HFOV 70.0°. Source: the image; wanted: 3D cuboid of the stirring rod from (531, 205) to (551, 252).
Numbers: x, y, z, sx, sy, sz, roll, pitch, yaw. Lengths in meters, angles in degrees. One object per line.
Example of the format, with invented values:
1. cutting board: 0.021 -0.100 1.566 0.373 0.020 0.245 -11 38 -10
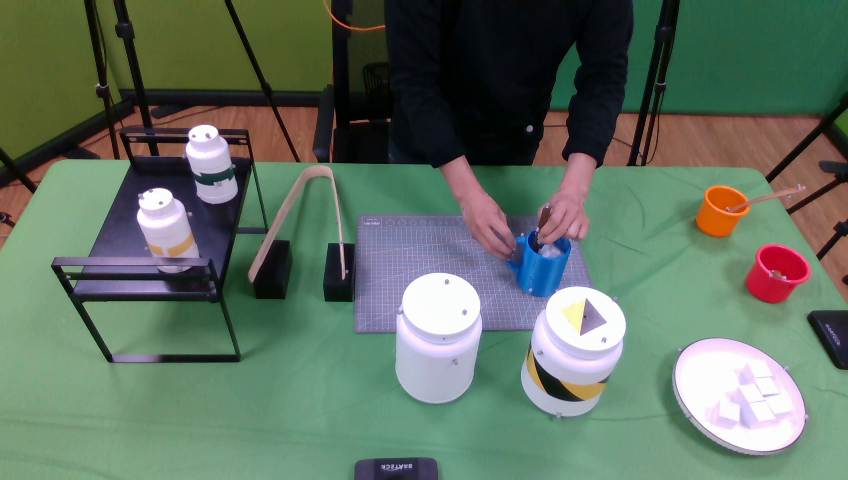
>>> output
1. stirring rod: 0.196 0.006 1.067 0.014 0.177 0.006 -12 48 -20

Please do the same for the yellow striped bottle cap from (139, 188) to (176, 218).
1. yellow striped bottle cap: -0.363 -0.050 0.826 0.044 0.019 0.044 1 47 -1

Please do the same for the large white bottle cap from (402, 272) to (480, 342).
1. large white bottle cap: 0.024 0.095 0.878 0.115 0.018 0.114 2 47 -2

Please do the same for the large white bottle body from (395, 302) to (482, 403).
1. large white bottle body: 0.020 0.153 0.940 0.131 0.185 0.130 2 46 -2

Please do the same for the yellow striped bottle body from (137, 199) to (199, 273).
1. yellow striped bottle body: -0.366 -0.014 0.863 0.063 0.121 0.062 2 46 -2

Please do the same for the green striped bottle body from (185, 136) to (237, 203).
1. green striped bottle body: -0.341 -0.121 0.968 0.063 0.120 0.063 2 46 -2

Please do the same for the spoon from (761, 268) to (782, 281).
1. spoon: 0.638 0.060 1.105 0.041 0.021 0.194 38 11 25

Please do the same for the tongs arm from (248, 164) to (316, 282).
1. tongs arm: -0.269 -0.048 1.165 0.028 0.028 0.385 0 34 7

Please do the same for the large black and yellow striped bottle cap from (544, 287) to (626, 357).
1. large black and yellow striped bottle cap: 0.232 0.116 0.876 0.115 0.019 0.114 2 46 -1

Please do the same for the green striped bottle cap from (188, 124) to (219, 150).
1. green striped bottle cap: -0.339 -0.158 0.931 0.044 0.020 0.044 3 46 -3

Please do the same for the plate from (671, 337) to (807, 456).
1. plate: 0.503 0.254 0.984 0.208 0.039 0.206 2 46 -2

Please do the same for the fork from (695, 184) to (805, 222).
1. fork: 0.657 -0.075 1.230 0.207 0.019 0.028 -23 32 37

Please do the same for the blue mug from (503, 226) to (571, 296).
1. blue mug: 0.202 0.034 1.118 0.116 0.106 0.082 18 48 13

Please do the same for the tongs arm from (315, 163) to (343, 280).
1. tongs arm: -0.187 -0.049 1.170 0.051 0.026 0.382 -5 35 -6

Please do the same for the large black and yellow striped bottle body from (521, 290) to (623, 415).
1. large black and yellow striped bottle body: 0.228 0.173 0.938 0.131 0.185 0.130 2 47 -2
